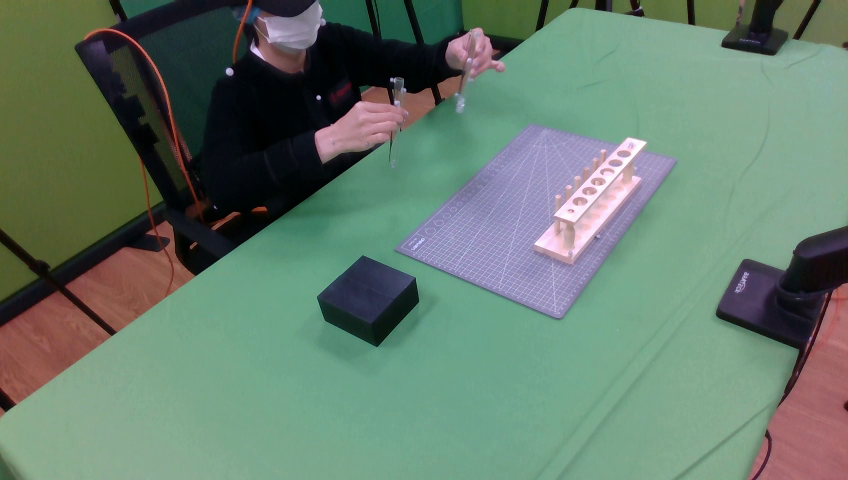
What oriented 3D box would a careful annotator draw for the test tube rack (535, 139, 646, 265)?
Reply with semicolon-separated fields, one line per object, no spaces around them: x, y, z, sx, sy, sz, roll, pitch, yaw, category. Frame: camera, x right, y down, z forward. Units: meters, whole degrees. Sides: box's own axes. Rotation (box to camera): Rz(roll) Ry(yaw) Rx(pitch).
0.269;-0.071;0.964;0.066;0.085;0.243;23;49;32;test tube rack

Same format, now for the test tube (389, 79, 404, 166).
-0.047;-0.193;1.008;0.017;0.150;0.017;5;30;-2;test tube

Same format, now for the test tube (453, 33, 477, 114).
0.069;-0.282;1.039;0.017;0.151;0.017;7;42;-6;test tube
